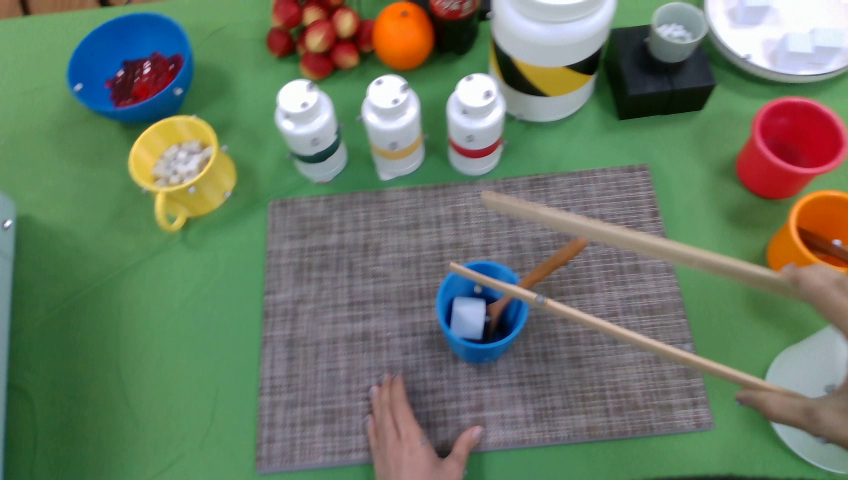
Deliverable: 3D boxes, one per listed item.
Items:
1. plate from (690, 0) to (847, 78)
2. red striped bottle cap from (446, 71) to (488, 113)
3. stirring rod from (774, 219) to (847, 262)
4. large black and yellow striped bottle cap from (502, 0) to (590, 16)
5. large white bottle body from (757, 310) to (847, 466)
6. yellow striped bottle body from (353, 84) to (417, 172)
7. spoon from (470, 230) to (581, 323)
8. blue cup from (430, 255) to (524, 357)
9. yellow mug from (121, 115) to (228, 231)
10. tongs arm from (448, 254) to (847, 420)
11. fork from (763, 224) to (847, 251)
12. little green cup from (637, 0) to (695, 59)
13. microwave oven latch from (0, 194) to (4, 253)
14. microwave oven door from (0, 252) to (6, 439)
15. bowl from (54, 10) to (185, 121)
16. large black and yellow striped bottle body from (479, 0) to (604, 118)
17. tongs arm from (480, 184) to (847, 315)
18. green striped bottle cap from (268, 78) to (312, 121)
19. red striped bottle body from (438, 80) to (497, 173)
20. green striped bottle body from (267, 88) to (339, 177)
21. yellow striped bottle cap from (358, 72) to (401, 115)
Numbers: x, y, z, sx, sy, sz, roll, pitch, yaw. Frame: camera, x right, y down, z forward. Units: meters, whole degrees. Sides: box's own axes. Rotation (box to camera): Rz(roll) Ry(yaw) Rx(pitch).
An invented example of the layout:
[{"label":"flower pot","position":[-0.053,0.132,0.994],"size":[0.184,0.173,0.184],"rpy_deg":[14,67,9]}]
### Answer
[{"label":"plate","position":[0.443,-0.287,0.773],"size":[0.209,0.038,0.207],"rpy_deg":[-1,66,3]},{"label":"red striped bottle cap","position":[0.045,-0.155,0.634],"size":[0.044,0.018,0.044],"rpy_deg":[0,64,0]},{"label":"stirring rod","position":[0.402,0.011,0.587],"size":[0.014,0.006,0.174],"rpy_deg":[-11,23,-3]},{"label":"large black and yellow striped bottle cap","position":[0.124,-0.276,0.614],"size":[0.115,0.019,0.114],"rpy_deg":[-2,65,4]},{"label":"large white bottle body","position":[0.386,0.117,0.514],"size":[0.130,0.186,0.129],"rpy_deg":[-1,65,3]},{"label":"yellow striped bottle body","position":[-0.044,-0.134,0.687],"size":[0.063,0.121,0.062],"rpy_deg":[-2,66,4]},{"label":"spoon","position":[0.079,0.049,0.562],"size":[0.022,0.194,0.041],"rpy_deg":[3,56,-29]},{"label":"blue cup","position":[0.051,0.074,0.596],"size":[0.092,0.101,0.092],"rpy_deg":[-1,66,3]},{"label":"yellow mug","position":[-0.292,-0.073,0.704],"size":[0.100,0.064,0.130],"rpy_deg":[4,67,4]},{"label":"tongs arm","position":[0.192,0.062,0.373],"size":[0.382,0.027,0.050],"rpy_deg":[22,76,24]},{"label":"fork","position":[0.430,0.009,0.580],"size":[0.028,0.019,0.205],"rpy_deg":[-39,25,-19]},{"label":"little green cup","position":[0.280,-0.244,0.708],"size":[0.061,0.039,0.061],"rpy_deg":[-1,64,2]},{"label":"microwave oven latch","position":[-0.498,-0.021,0.689],"size":[0.030,0.030,0.078],"rpy_deg":[-14,67,-3]},{"label":"microwave oven door","position":[-0.452,0.128,0.507],"size":[0.039,0.245,0.352],"rpy_deg":[-15,66,-3]},{"label":"bowl","position":[-0.364,-0.203,0.759],"size":[0.151,0.077,0.150],"rpy_deg":[-1,66,2]},{"label":"large black and yellow striped bottle body","position":[0.130,-0.243,0.691],"size":[0.131,0.185,0.129],"rpy_deg":[-1,66,3]},{"label":"tongs arm","position":[0.207,0.030,0.381],"size":[0.385,0.028,0.028],"rpy_deg":[22,72,23]},{"label":"green striped bottle cap","position":[-0.142,-0.149,0.643],"size":[0.044,0.020,0.044],"rpy_deg":[-1,64,2]},{"label":"red striped bottle body","position":[0.050,-0.133,0.682],"size":[0.063,0.121,0.062],"rpy_deg":[-3,64,7]},{"label":"green striped bottle body","position":[-0.138,-0.128,0.690],"size":[0.063,0.120,0.062],"rpy_deg":[-1,65,3]},{"label":"yellow striped bottle cap","position":[-0.047,-0.155,0.640],"size":[0.044,0.019,0.044],"rpy_deg":[-1,67,2]}]
